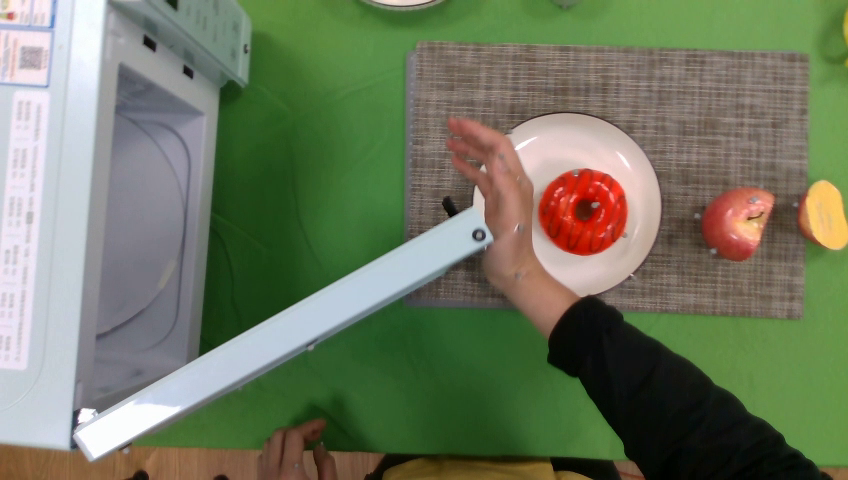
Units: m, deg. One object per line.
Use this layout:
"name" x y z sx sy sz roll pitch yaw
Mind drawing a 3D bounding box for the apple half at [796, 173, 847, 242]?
"apple half" 0.429 -0.033 0.667 0.082 0.032 0.081 6 77 -29

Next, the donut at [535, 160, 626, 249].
"donut" 0.172 -0.039 0.666 0.099 0.048 0.099 0 91 3

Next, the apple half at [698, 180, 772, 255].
"apple half" 0.327 -0.029 0.654 0.053 0.075 0.081 21 93 7

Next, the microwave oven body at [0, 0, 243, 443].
"microwave oven body" -0.379 -0.068 0.590 0.326 0.260 0.441 4 90 2

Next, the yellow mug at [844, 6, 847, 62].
"yellow mug" 0.515 -0.240 0.657 0.131 0.064 0.100 -41 88 2

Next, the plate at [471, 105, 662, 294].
"plate" 0.156 -0.045 0.678 0.209 0.038 0.209 0 89 3

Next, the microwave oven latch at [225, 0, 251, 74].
"microwave oven latch" -0.213 -0.230 0.681 0.030 0.029 0.079 6 90 2

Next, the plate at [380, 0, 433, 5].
"plate" -0.019 -0.369 0.695 0.207 0.039 0.207 0 89 3

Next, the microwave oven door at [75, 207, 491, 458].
"microwave oven door" -0.103 0.072 0.571 0.356 0.244 0.039 -30 87 1
